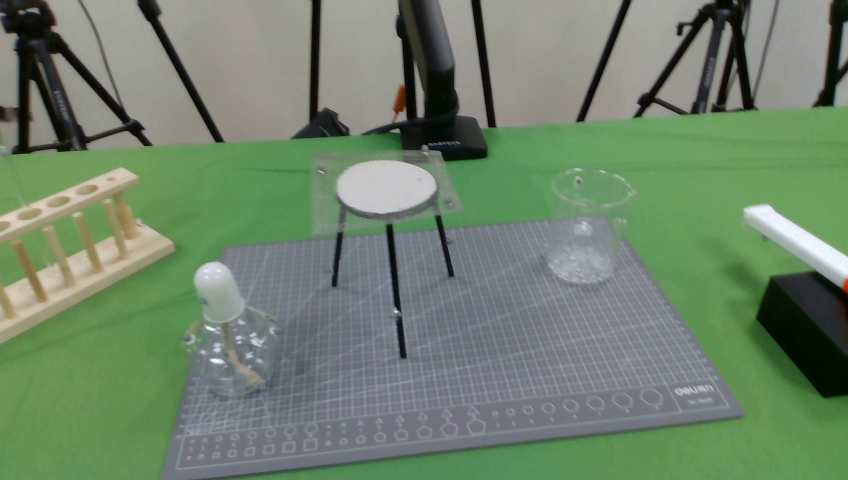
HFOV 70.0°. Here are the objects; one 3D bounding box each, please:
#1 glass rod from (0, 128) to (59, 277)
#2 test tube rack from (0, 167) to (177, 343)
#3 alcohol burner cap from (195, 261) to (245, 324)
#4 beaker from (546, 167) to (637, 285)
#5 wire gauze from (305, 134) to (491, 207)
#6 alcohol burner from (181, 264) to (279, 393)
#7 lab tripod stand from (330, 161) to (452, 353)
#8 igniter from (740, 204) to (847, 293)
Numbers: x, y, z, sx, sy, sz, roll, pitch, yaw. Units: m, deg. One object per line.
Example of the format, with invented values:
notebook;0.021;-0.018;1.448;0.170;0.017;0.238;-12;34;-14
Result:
glass rod;-0.375;-0.041;0.566;0.008;0.201;0.008;3;37;-2
test tube rack;-0.379;0.020;0.594;0.066;0.086;0.242;25;43;32
alcohol burner cap;-0.161;0.038;0.471;0.034;0.048;0.033;-1;39;2
beaker;0.164;-0.012;0.607;0.084;0.101;0.073;0;36;1
wire gauze;-0.025;-0.058;0.504;0.125;0.011;0.120;-11;32;-26
alcohol burner;-0.159;0.067;0.492;0.078;0.120;0.077;1;35;0
lab tripod stand;-0.028;0.008;0.555;0.148;0.132;0.147;1;36;0
igniter;0.374;0.040;0.513;0.057;0.025;0.273;-9;33;-12
